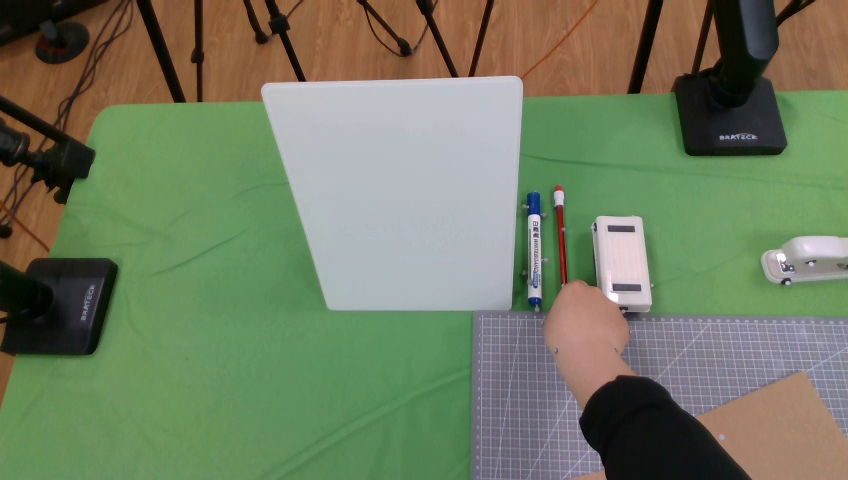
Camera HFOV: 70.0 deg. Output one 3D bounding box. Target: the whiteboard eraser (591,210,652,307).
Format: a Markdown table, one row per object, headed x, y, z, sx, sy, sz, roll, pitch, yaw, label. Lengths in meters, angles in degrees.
| x | y | z | sx | sy | sz | roll | pitch | yaw | label |
| --- | --- | --- | --- | --- | --- | --- | --- | --- | --- |
| 0.223 | 0.020 | 0.691 | 0.055 | 0.042 | 0.112 | 0 | 66 | 6 | whiteboard eraser |

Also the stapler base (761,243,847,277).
| x | y | z | sx | sy | sz | roll | pitch | yaw | label |
| --- | --- | --- | --- | --- | --- | --- | --- | --- | --- |
| 0.453 | 0.015 | 0.683 | 0.130 | 0.024 | 0.041 | -4 | 68 | 1 | stapler base |

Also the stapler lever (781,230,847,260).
| x | y | z | sx | sy | sz | roll | pitch | yaw | label |
| --- | --- | --- | --- | --- | --- | --- | --- | --- | --- |
| 0.453 | 0.005 | 0.662 | 0.118 | 0.040 | 0.026 | -5 | 67 | 2 | stapler lever |

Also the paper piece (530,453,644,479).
| x | y | z | sx | sy | sz | roll | pitch | yaw | label |
| --- | --- | --- | --- | --- | --- | --- | --- | --- | --- |
| 0.166 | 0.291 | 0.588 | 0.135 | 0.004 | 0.134 | -13 | 66 | -2 | paper piece |

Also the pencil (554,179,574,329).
| x | y | z | sx | sy | sz | roll | pitch | yaw | label |
| --- | --- | --- | --- | --- | --- | --- | --- | --- | --- |
| 0.167 | 0.012 | 0.716 | 0.012 | 0.012 | 0.192 | -2 | 66 | 5 | pencil |

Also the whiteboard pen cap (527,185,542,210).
| x | y | z | sx | sy | sz | roll | pitch | yaw | label |
| --- | --- | --- | --- | --- | --- | --- | --- | --- | --- |
| 0.136 | -0.050 | 0.742 | 0.018 | 0.018 | 0.033 | -1 | 64 | 5 | whiteboard pen cap |

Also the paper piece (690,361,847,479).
| x | y | z | sx | sy | sz | roll | pitch | yaw | label |
| --- | --- | --- | --- | --- | --- | --- | --- | --- | --- |
| 0.361 | 0.210 | 0.608 | 0.136 | 0.009 | 0.137 | -22 | 67 | -1 | paper piece |

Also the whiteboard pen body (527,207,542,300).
| x | y | z | sx | sy | sz | roll | pitch | yaw | label |
| --- | --- | --- | --- | --- | --- | --- | --- | --- | --- |
| 0.131 | 0.004 | 0.719 | 0.017 | 0.017 | 0.139 | 2 | 65 | 6 | whiteboard pen body |

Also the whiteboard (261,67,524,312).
| x | y | z | sx | sy | sz | roll | pitch | yaw | label |
| --- | --- | --- | --- | --- | --- | --- | --- | --- | --- |
| -0.012 | -0.074 | 0.642 | 0.217 | 0.308 | 0.142 | 0 | 46 | 6 | whiteboard |
